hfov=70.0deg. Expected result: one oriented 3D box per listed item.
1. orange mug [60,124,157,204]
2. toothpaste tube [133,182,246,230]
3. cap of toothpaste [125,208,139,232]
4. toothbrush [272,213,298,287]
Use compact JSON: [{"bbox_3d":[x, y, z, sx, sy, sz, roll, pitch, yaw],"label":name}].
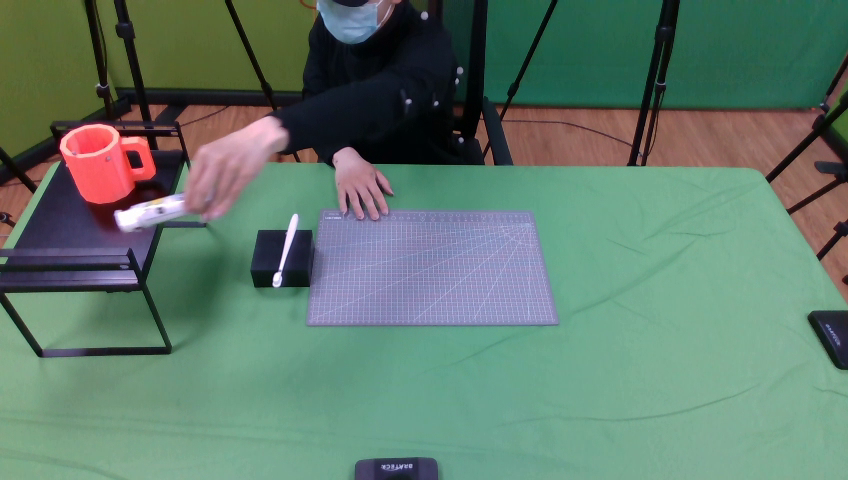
[{"bbox_3d":[-0.505,-0.127,0.980,0.126,0.101,0.083,-13,48,-10],"label":"orange mug"},{"bbox_3d":[-0.346,-0.052,0.889,0.165,0.035,0.054,-19,41,-13],"label":"toothpaste tube"},{"bbox_3d":[-0.420,-0.030,0.872,0.011,0.037,0.037,-19,50,-13],"label":"cap of toothpaste"},{"bbox_3d":[-0.252,0.013,1.103,0.014,0.017,0.180,1,46,2],"label":"toothbrush"}]
